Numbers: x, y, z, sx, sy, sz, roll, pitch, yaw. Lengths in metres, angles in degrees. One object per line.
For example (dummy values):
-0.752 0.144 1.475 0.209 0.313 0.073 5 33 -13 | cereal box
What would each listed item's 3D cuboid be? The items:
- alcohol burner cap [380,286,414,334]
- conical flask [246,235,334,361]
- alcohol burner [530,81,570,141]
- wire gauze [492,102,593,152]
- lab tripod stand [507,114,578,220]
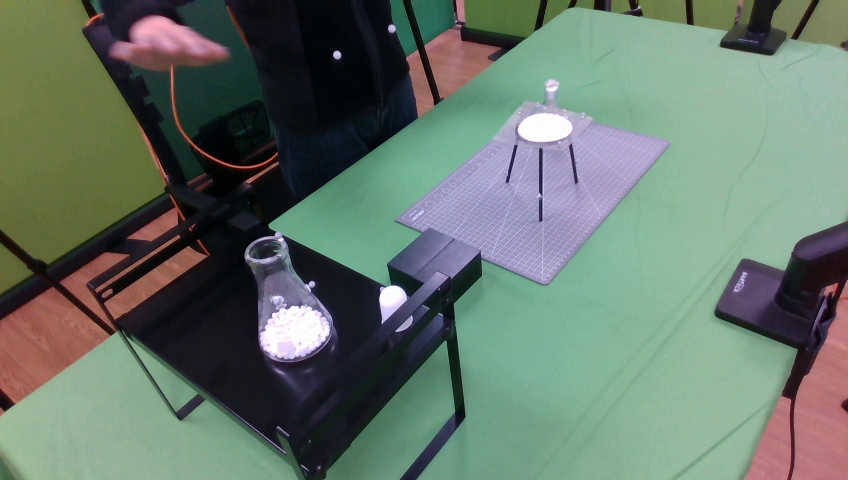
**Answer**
-0.029 0.068 0.605 0.034 0.048 0.033 -5 40 4 | alcohol burner cap
-0.134 0.053 0.576 0.075 0.122 0.075 -5 40 4 | conical flask
0.242 -0.251 1.159 0.078 0.119 0.077 -4 42 4 | alcohol burner
0.190 -0.180 0.964 0.120 0.011 0.125 19 47 27 | wire gauze
0.198 -0.128 1.005 0.148 0.132 0.147 -3 42 3 | lab tripod stand
